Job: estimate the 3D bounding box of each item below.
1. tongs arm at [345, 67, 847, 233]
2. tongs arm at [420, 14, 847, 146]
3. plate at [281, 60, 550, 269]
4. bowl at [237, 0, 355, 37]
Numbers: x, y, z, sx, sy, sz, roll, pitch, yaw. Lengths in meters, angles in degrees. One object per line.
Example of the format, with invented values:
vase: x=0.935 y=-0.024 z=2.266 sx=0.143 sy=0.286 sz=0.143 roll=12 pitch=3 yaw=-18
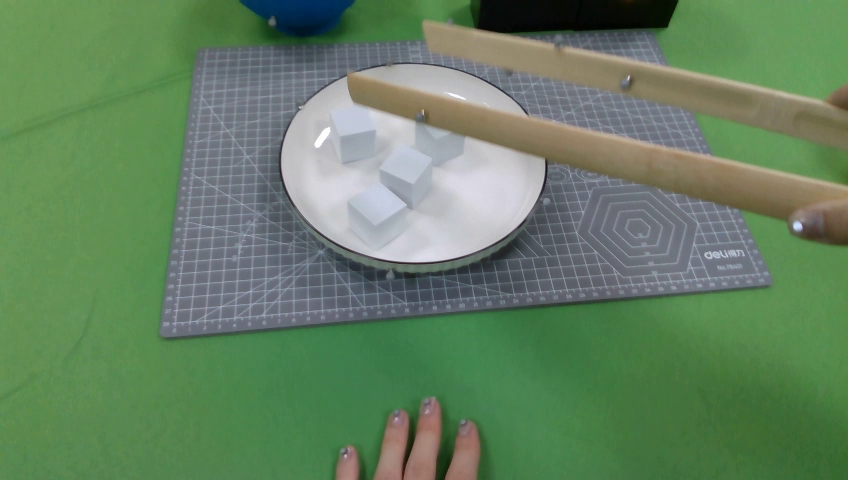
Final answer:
tongs arm: x=0.104 y=-0.053 z=0.329 sx=0.384 sy=0.028 sz=0.028 roll=20 pitch=48 yaw=30
tongs arm: x=0.135 y=-0.083 z=0.352 sx=0.381 sy=0.027 sz=0.050 roll=24 pitch=53 yaw=32
plate: x=-0.006 y=-0.062 z=0.485 sx=0.208 sy=0.039 sz=0.205 roll=1 pitch=57 yaw=-2
bowl: x=-0.121 y=-0.252 z=0.583 sx=0.151 sy=0.077 sz=0.150 roll=1 pitch=57 yaw=-1
